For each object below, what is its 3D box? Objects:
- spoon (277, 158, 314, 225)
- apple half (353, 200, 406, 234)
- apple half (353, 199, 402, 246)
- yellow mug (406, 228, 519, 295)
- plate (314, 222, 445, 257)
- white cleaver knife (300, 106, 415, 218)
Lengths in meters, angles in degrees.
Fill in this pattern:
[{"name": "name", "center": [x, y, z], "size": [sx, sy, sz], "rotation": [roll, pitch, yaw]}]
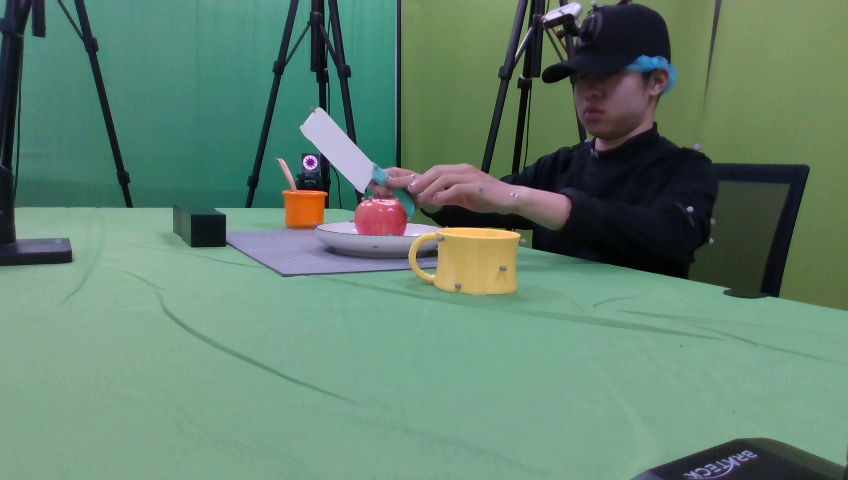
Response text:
[{"name": "spoon", "center": [-0.272, -0.103, 1.260], "size": [0.042, 0.193, 0.021], "rotation": [-4, -34, -33]}, {"name": "apple half", "center": [-0.064, -0.023, 0.909], "size": [0.081, 0.074, 0.053], "rotation": [4, 11, -18]}, {"name": "apple half", "center": [-0.076, -0.029, 0.946], "size": [0.081, 0.081, 0.032], "rotation": [0, 12, -18]}, {"name": "yellow mug", "center": [0.044, 0.022, 0.707], "size": [0.131, 0.064, 0.100], "rotation": [2, 7, 5]}, {"name": "plate", "center": [-0.067, -0.002, 0.948], "size": [0.209, 0.038, 0.209], "rotation": [3, 6, 0]}, {"name": "white cleaver knife", "center": [-0.111, -0.121, 1.060], "size": [0.021, 0.066, 0.288], "rotation": [6, -28, 46]}]
